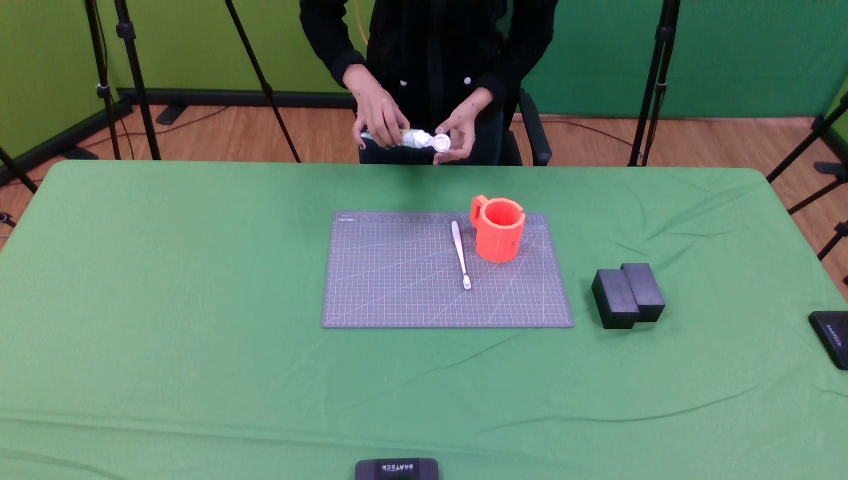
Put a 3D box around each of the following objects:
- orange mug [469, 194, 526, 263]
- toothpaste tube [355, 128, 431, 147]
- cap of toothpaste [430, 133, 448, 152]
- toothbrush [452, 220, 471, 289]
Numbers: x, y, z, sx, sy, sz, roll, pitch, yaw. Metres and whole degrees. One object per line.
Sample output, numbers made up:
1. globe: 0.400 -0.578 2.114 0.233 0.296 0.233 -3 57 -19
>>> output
1. orange mug: 0.136 -0.030 1.180 0.083 0.101 0.125 -26 58 -26
2. toothpaste tube: -0.055 -0.204 1.177 0.164 0.034 0.055 14 27 33
3. cap of toothpaste: 0.028 -0.186 1.148 0.037 0.037 0.011 11 4 7
4. toothbrush: 0.071 0.024 1.180 0.014 0.017 0.180 -13 45 5
